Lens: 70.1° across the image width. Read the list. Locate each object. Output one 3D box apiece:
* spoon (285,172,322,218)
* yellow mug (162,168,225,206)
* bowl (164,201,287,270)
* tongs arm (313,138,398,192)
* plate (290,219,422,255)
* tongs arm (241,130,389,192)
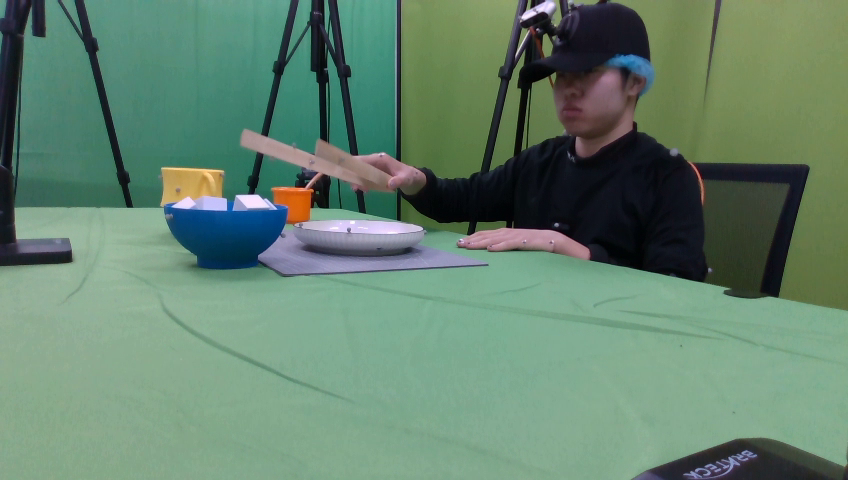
[{"bbox_3d":[-0.262,-0.115,1.359,0.041,0.194,0.022,12,-33,38],"label":"spoon"},{"bbox_3d":[-0.383,-0.087,1.026,0.130,0.064,0.100,11,11,44],"label":"yellow mug"},{"bbox_3d":[-0.254,-0.006,0.782,0.151,0.077,0.151,2,8,0],"label":"bowl"},{"bbox_3d":[-0.102,-0.117,1.009,0.028,0.027,0.388,4,-2,14],"label":"tongs arm"},{"bbox_3d":[-0.108,-0.005,0.963,0.208,0.039,0.207,3,7,0],"label":"plate"},{"bbox_3d":[-0.164,-0.127,1.033,0.050,0.026,0.386,7,-2,23],"label":"tongs arm"}]
